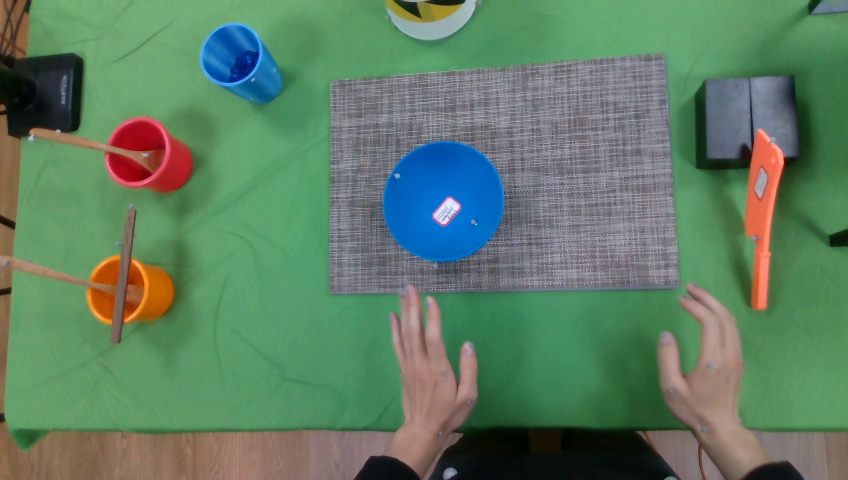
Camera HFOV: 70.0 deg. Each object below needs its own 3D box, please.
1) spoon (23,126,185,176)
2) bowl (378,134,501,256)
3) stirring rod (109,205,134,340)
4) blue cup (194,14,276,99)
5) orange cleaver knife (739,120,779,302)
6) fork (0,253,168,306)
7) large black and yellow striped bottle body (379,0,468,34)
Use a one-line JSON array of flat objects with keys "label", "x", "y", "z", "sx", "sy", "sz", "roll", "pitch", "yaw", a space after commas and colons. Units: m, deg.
[{"label": "spoon", "x": -0.425, "y": -0.125, "z": 0.817, "sx": 0.195, "sy": 0.021, "sz": 0.041, "roll": 13, "pitch": 82, "yaw": -33}, {"label": "bowl", "x": 0.023, "y": -0.050, "z": 0.767, "sx": 0.151, "sy": 0.077, "sz": 0.151, "roll": -1, "pitch": 83, "yaw": 9}, {"label": "stirring rod", "x": -0.393, "y": 0.041, "z": 0.787, "sx": 0.014, "sy": 0.006, "sz": 0.175, "roll": 3, "pitch": 84, "yaw": 7}, {"label": "blue cup", "x": -0.247, "y": -0.237, "z": 0.823, "sx": 0.092, "sy": 0.100, "sz": 0.092, "roll": -1, "pitch": 84, "yaw": 7}, {"label": "orange cleaver knife", "x": 0.387, "y": -0.031, "z": 0.709, "sx": 0.012, "sy": 0.076, "sz": 0.212, "roll": -6, "pitch": 112, "yaw": 5}, {"label": "fork", "x": -0.444, "y": 0.052, "z": 0.795, "sx": 0.209, "sy": 0.018, "sz": 0.028, "roll": 21, "pitch": 95, "yaw": -33}, {"label": "large black and yellow striped bottle body", "x": -0.012, "y": -0.358, "z": 0.759, "sx": 0.130, "sy": 0.185, "sz": 0.130, "roll": -1, "pitch": 82, "yaw": 9}]
